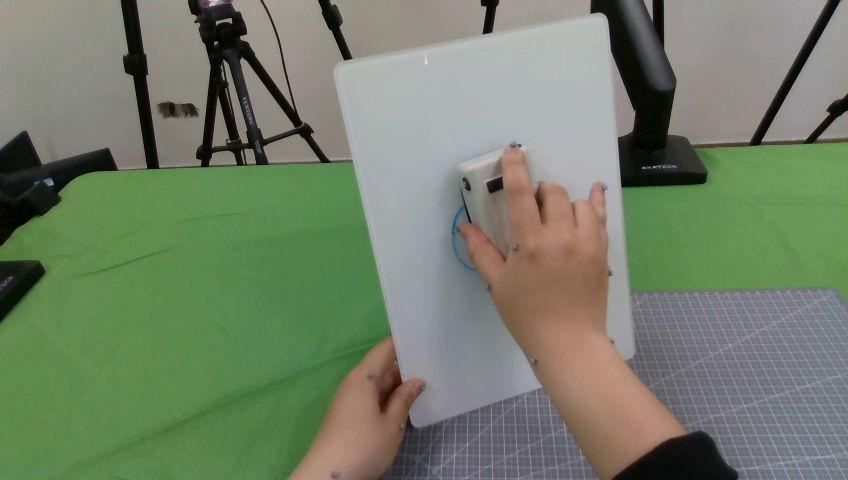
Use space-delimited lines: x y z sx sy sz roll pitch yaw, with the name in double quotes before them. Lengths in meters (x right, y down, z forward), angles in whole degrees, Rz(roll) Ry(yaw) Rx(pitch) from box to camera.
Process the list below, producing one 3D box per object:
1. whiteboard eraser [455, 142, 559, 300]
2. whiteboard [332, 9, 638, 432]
"whiteboard eraser" 0.063 -0.014 0.465 0.055 0.113 0.041 -19 16 -9
"whiteboard" 0.049 -0.025 0.548 0.217 0.307 0.143 -15 18 -11
